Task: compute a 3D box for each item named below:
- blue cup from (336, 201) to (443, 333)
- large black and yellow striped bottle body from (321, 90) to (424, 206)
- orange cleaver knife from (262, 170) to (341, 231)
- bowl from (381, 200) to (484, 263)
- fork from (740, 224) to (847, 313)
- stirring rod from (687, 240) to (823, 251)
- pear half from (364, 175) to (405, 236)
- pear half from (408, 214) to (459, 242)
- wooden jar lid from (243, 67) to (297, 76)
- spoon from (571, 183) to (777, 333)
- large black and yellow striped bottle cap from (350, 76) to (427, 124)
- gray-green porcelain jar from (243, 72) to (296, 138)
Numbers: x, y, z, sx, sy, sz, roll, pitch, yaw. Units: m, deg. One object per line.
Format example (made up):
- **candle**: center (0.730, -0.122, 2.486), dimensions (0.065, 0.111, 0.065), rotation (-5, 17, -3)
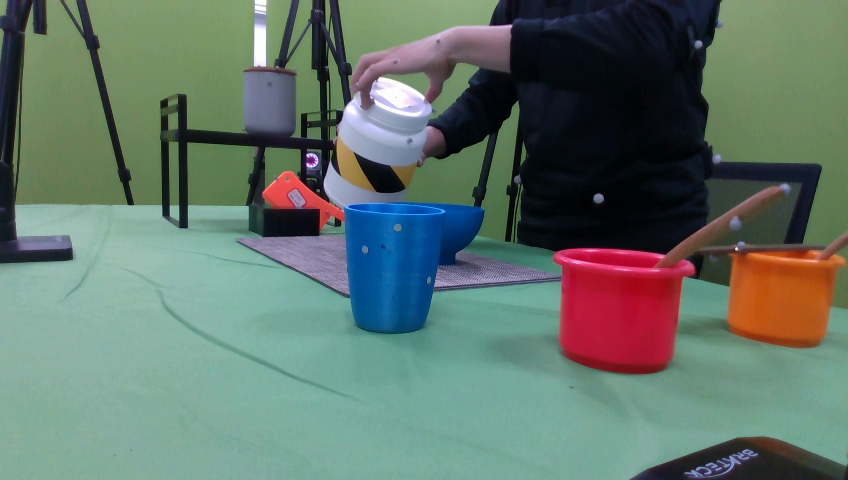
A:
- **blue cup**: center (-0.029, 0.022, 0.507), dimensions (0.093, 0.100, 0.092), rotation (3, 9, 0)
- **large black and yellow striped bottle body**: center (-0.077, -0.142, 0.936), dimensions (0.131, 0.184, 0.130), rotation (15, 34, -10)
- **orange cleaver knife**: center (-0.201, -0.057, 1.136), dimensions (0.212, 0.077, 0.012), rotation (31, -3, -31)
- **bowl**: center (0.007, -0.012, 0.842), dimensions (0.151, 0.077, 0.151), rotation (2, 8, 0)
- **fork**: center (0.323, 0.013, 0.485), dimensions (0.028, 0.018, 0.207), rotation (8, -37, -6)
- **stirring rod**: center (0.289, 0.005, 0.525), dimensions (0.177, 0.006, 0.014), rotation (-1, 6, -26)
- **pear half**: center (-0.064, -0.061, 1.077), dimensions (0.055, 0.110, 0.077), rotation (9, 14, 39)
- **pear half**: center (0.011, -0.020, 0.848), dimensions (0.070, 0.031, 0.088), rotation (5, 12, 33)
- **wooden jar lid**: center (-0.319, -0.342, 1.254), dimensions (0.108, 0.020, 0.108), rotation (3, 8, 0)
- **spoon**: center (0.161, 0.020, 0.413), dimensions (0.042, 0.021, 0.193), rotation (1, -36, -24)
- **large black and yellow striped bottle cap**: center (-0.052, -0.207, 0.891), dimensions (0.115, 0.019, 0.115), rotation (17, 34, -11)
- **gray-green porcelain jar**: center (-0.322, -0.279, 1.263), dimensions (0.106, 0.126, 0.106), rotation (3, 8, 0)
